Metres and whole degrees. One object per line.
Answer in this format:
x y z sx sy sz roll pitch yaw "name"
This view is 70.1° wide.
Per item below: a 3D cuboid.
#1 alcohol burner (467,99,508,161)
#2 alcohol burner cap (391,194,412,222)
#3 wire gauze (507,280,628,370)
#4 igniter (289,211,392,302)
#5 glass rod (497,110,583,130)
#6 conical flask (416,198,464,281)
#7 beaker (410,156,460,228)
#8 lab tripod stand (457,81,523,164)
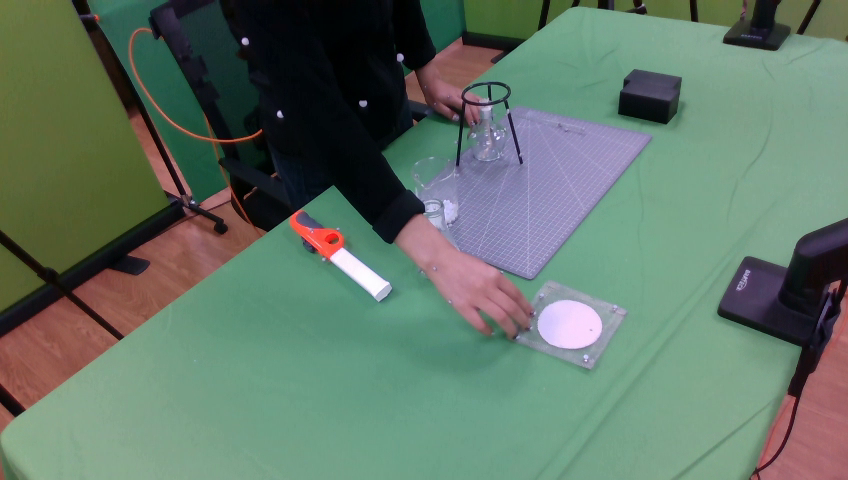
0.119 -0.210 1.134 0.078 0.119 0.077 -4 39 4 "alcohol burner"
-0.041 -0.057 1.040 0.034 0.048 0.033 -6 40 5 "alcohol burner cap"
0.196 0.114 0.823 0.120 0.011 0.125 20 50 31 "wire gauze"
-0.146 0.019 0.985 0.057 0.025 0.274 -40 48 -18 "igniter"
0.233 -0.245 1.235 0.198 0.008 0.008 21 49 34 "glass rod"
0.019 -0.004 0.907 0.075 0.122 0.075 -5 40 5 "conical flask"
0.020 -0.076 1.006 0.074 0.101 0.084 3 42 16 "beaker"
0.120 -0.219 1.129 0.148 0.132 0.147 -7 39 6 "lab tripod stand"
